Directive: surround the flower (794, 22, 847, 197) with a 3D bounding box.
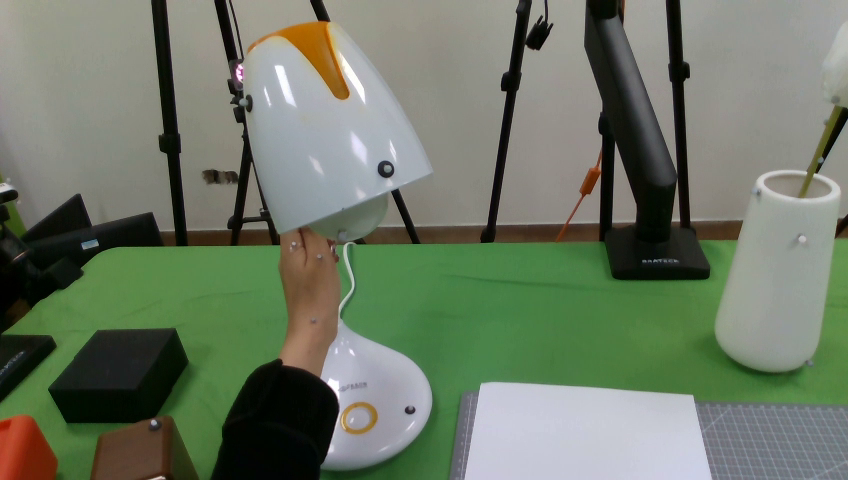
[{"bbox_3d":[0.333,-0.028,0.546,0.038,0.365,0.043,-36,53,-20],"label":"flower"}]

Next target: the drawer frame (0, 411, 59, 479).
[{"bbox_3d":[-0.421,0.260,0.472,0.202,0.083,0.211,-16,30,-14],"label":"drawer frame"}]

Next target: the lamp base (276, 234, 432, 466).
[{"bbox_3d":[-0.084,0.096,0.596,0.161,0.181,0.177,-16,29,-17],"label":"lamp base"}]

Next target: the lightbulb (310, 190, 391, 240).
[{"bbox_3d":[-0.056,-0.053,0.395,0.059,0.108,0.059,-12,5,1],"label":"lightbulb"}]

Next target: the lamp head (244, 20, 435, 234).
[{"bbox_3d":[-0.066,-0.077,0.399,0.112,0.123,0.112,-24,2,1],"label":"lamp head"}]

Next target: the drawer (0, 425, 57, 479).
[{"bbox_3d":[-0.418,0.263,0.471,0.195,0.074,0.209,-15,29,-14],"label":"drawer"}]

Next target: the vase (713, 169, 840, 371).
[{"bbox_3d":[0.351,0.032,0.604,0.098,0.201,0.097,-6,29,3],"label":"vase"}]

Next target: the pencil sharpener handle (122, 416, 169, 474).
[{"bbox_3d":[-0.242,0.175,0.536,0.036,0.068,0.030,-9,29,-17],"label":"pencil sharpener handle"}]

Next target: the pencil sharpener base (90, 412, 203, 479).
[{"bbox_3d":[-0.223,0.208,0.500,0.061,0.108,0.076,-15,31,-14],"label":"pencil sharpener base"}]
